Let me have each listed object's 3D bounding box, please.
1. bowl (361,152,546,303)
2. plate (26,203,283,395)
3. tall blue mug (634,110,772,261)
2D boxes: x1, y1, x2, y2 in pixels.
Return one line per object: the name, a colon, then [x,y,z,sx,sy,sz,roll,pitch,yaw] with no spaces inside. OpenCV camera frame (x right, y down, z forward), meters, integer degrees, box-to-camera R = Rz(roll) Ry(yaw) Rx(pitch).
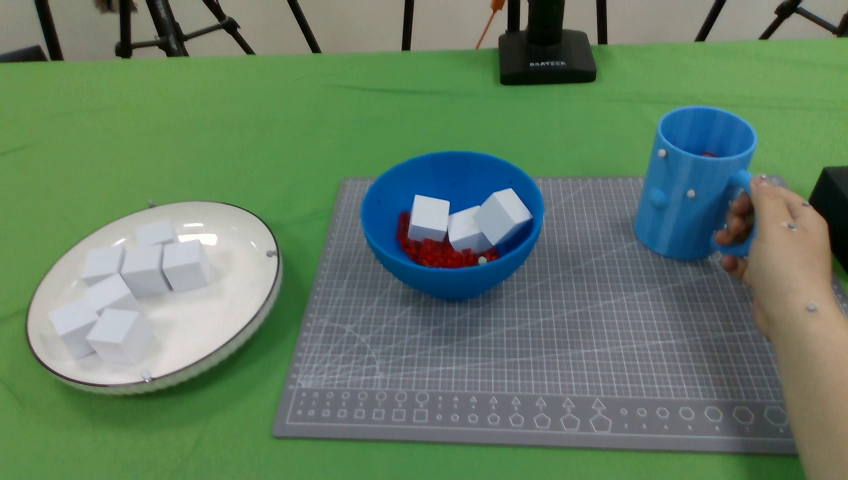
bowl: [0.026,0.000,0.517,0.151,0.077,0.150,-2,44,3]
plate: [-0.223,0.047,0.523,0.209,0.038,0.207,-2,44,2]
tall blue mug: [0.243,-0.040,0.517,0.106,0.109,0.077,24,50,26]
